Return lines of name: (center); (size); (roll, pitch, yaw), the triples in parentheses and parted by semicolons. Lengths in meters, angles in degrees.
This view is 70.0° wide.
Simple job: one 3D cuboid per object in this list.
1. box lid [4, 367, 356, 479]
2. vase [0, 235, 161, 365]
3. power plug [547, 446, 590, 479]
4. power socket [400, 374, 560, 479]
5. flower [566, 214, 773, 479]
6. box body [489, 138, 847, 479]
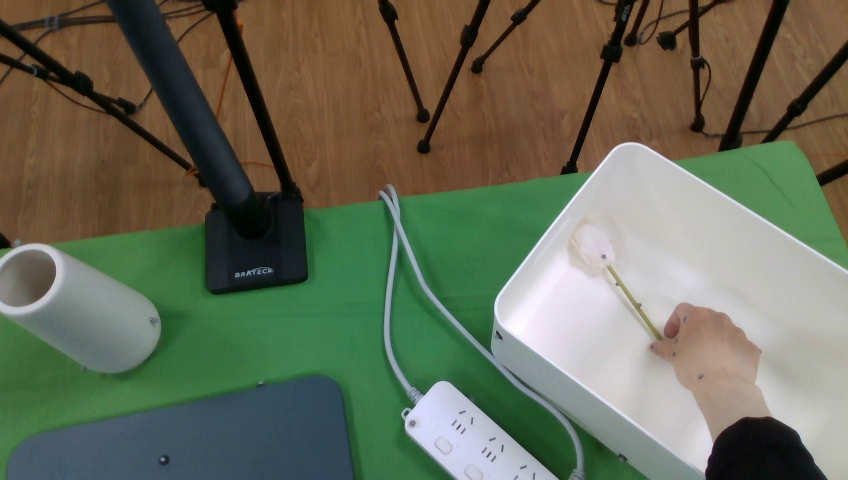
box lid: (-0.251, 0.292, 0.636); (0.372, 0.015, 0.261); (-11, 68, -5)
vase: (-0.353, 0.065, 0.630); (0.098, 0.201, 0.097); (0, 66, -1)
power plug: (0.148, 0.250, 0.619); (0.072, 0.053, 0.035); (-34, 68, -18)
power socket: (0.073, 0.235, 0.650); (0.225, 0.033, 0.072); (39, 72, 15)
flower: (0.283, 0.121, 0.699); (0.044, 0.038, 0.359); (-32, 74, -2)
box body: (0.273, 0.106, 0.633); (0.362, 0.161, 0.253); (36, 72, 14)
